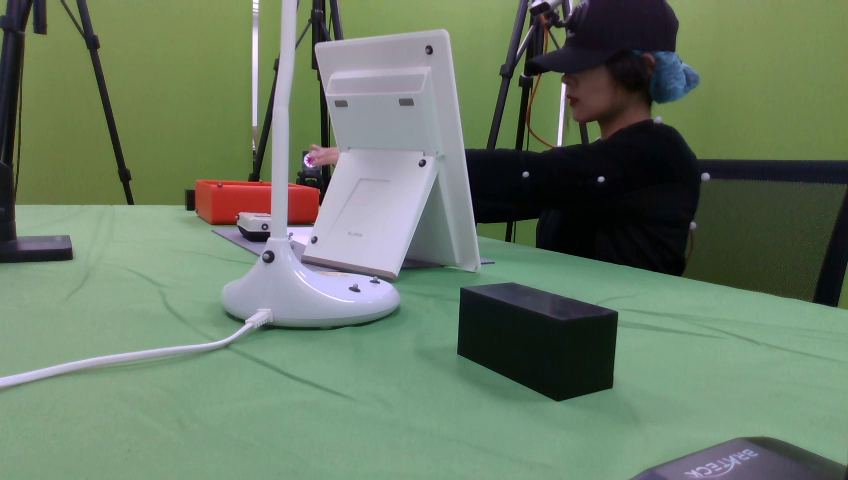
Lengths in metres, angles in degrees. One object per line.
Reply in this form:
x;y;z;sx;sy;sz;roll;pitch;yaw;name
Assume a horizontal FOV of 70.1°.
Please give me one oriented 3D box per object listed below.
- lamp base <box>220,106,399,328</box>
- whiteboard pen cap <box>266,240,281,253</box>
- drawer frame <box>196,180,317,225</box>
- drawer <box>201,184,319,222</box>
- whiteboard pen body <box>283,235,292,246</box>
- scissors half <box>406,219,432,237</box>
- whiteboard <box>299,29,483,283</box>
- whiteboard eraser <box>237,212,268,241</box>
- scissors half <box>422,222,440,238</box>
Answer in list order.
-0.101;-0.023;0.531;0.160;0.180;0.179;4;10;10;lamp base
-0.202;0.009;0.813;0.018;0.018;0.033;1;3;-8;whiteboard pen cap
-0.359;-0.083;1.292;0.215;0.082;0.200;-2;10;-30;drawer frame
-0.353;-0.082;1.296;0.213;0.073;0.193;-2;9;-28;drawer
-0.206;0.005;0.872;0.017;0.017;0.140;2;4;-6;whiteboard pen body
-0.007;-0.022;1.215;0.040;0.013;0.174;10;9;-15;scissors half
-0.074;-0.082;0.742;0.216;0.305;0.144;9;29;38;whiteboard
-0.272;-0.024;0.998;0.056;0.042;0.112;-3;9;-26;whiteboard eraser
0.013;-0.017;1.217;0.040;0.013;0.175;18;8;0;scissors half
